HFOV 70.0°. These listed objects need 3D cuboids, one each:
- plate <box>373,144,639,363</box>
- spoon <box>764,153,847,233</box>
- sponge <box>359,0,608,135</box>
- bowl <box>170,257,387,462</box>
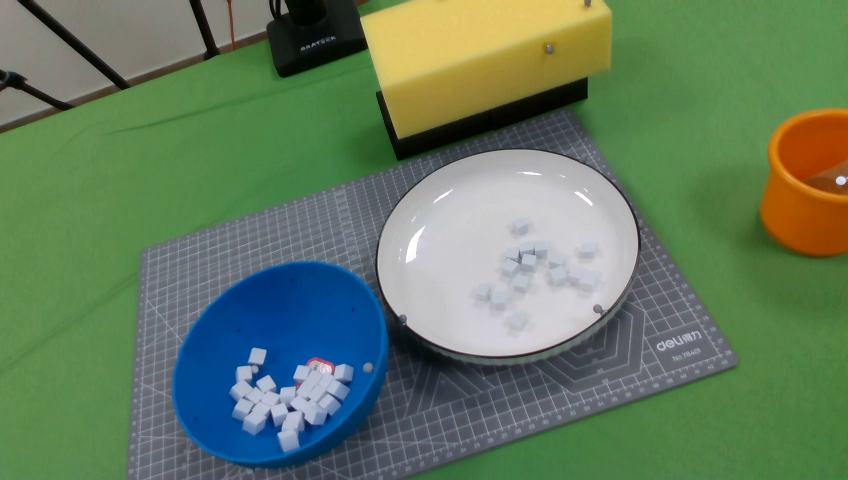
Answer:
[{"bbox_3d":[0.063,0.008,0.490,0.209,0.038,0.207,-7,52,9],"label":"plate"},{"bbox_3d":[0.323,-0.075,0.419,0.022,0.194,0.041,8,44,-37],"label":"spoon"},{"bbox_3d":[0.052,-0.186,0.567,0.207,0.061,0.117,-18,51,0],"label":"sponge"},{"bbox_3d":[-0.091,0.094,0.436,0.151,0.077,0.150,-7,52,9],"label":"bowl"}]
